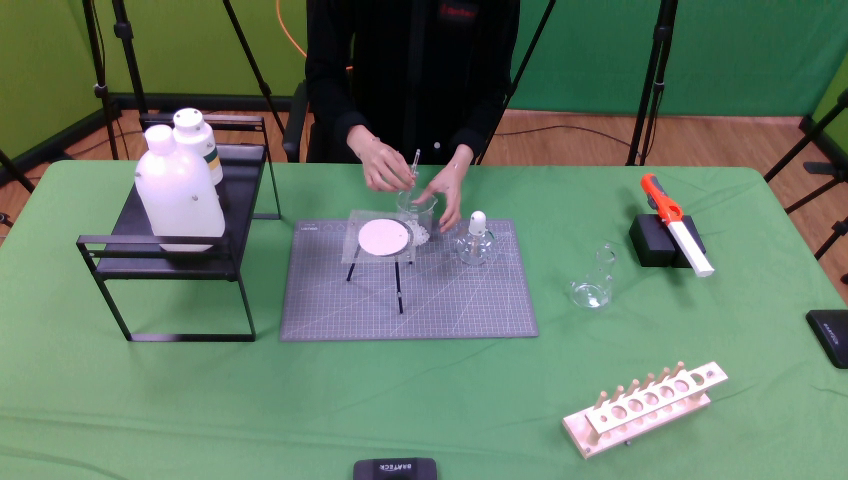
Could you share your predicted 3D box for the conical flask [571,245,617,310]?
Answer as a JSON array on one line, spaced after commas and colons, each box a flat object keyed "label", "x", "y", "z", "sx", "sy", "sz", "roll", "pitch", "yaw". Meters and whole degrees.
[{"label": "conical flask", "x": 0.313, "y": 0.064, "z": 1.089, "sx": 0.075, "sy": 0.122, "sz": 0.075, "roll": 2, "pitch": 46, "yaw": -2}]

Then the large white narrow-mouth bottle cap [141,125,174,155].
[{"label": "large white narrow-mouth bottle cap", "x": -0.356, "y": -0.134, "z": 0.810, "sx": 0.038, "sy": 0.024, "sz": 0.037, "roll": 2, "pitch": 48, "yaw": -1}]

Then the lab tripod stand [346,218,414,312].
[{"label": "lab tripod stand", "x": -0.070, "y": 0.037, "z": 1.075, "sx": 0.148, "sy": 0.132, "sz": 0.147, "roll": 1, "pitch": 47, "yaw": -1}]

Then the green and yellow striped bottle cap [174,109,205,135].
[{"label": "green and yellow striped bottle cap", "x": -0.369, "y": -0.186, "z": 0.954, "sx": 0.045, "sy": 0.020, "sz": 0.045, "roll": 3, "pitch": 50, "yaw": -3}]

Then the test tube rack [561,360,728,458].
[{"label": "test tube rack", "x": 0.341, "y": 0.247, "z": 0.940, "sx": 0.243, "sy": 0.085, "sz": 0.066, "roll": -15, "pitch": 49, "yaw": -18}]

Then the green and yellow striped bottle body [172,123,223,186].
[{"label": "green and yellow striped bottle body", "x": -0.373, "y": -0.148, "z": 0.994, "sx": 0.063, "sy": 0.120, "sz": 0.063, "roll": 2, "pitch": 46, "yaw": -2}]

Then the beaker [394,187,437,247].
[{"label": "beaker", "x": -0.018, "y": -0.042, "z": 1.179, "sx": 0.084, "sy": 0.101, "sz": 0.073, "roll": -9, "pitch": 48, "yaw": -13}]

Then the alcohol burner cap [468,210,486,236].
[{"label": "alcohol burner cap", "x": 0.099, "y": -0.034, "z": 1.119, "sx": 0.034, "sy": 0.048, "sz": 0.033, "roll": 0, "pitch": 53, "yaw": 0}]

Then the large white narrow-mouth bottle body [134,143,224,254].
[{"label": "large white narrow-mouth bottle body", "x": -0.358, "y": -0.075, "z": 0.875, "sx": 0.102, "sy": 0.195, "sz": 0.101, "roll": 1, "pitch": 48, "yaw": -1}]

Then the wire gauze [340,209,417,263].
[{"label": "wire gauze", "x": -0.074, "y": -0.007, "z": 1.023, "sx": 0.121, "sy": 0.011, "sz": 0.124, "roll": 3, "pitch": 46, "yaw": 0}]

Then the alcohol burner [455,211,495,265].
[{"label": "alcohol burner", "x": 0.097, "y": -0.010, "z": 1.147, "sx": 0.078, "sy": 0.120, "sz": 0.077, "roll": 1, "pitch": 47, "yaw": -1}]

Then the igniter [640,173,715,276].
[{"label": "igniter", "x": 0.495, "y": -0.039, "z": 1.204, "sx": 0.057, "sy": 0.025, "sz": 0.274, "roll": -2, "pitch": 47, "yaw": -12}]

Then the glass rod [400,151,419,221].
[{"label": "glass rod", "x": -0.029, "y": -0.090, "z": 1.119, "sx": 0.008, "sy": 0.200, "sz": 0.008, "roll": 6, "pitch": 51, "yaw": -8}]
